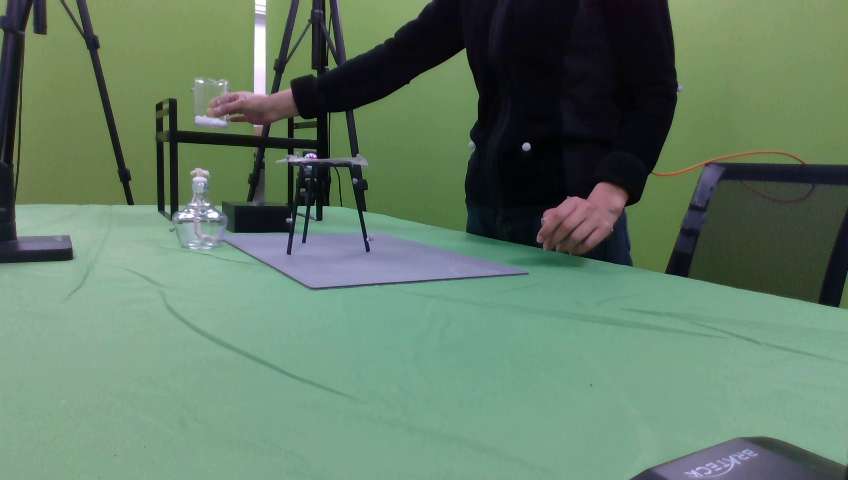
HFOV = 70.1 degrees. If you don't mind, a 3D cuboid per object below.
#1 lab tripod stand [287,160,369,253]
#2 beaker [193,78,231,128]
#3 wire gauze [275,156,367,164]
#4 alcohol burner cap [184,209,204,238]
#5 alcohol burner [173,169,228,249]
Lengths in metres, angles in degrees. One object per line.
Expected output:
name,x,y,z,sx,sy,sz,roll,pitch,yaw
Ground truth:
lab tripod stand,-0.157,-0.053,0.901,0.148,0.131,0.148,0,7,0
beaker,-0.451,-0.291,1.293,0.074,0.100,0.083,-3,9,-35
wire gauze,-0.148,-0.119,0.895,0.121,0.011,0.125,1,7,-3
alcohol burner cap,-0.389,-0.029,1.025,0.034,0.048,0.034,2,8,0
alcohol burner,-0.333,-0.047,0.903,0.078,0.119,0.078,2,6,0
